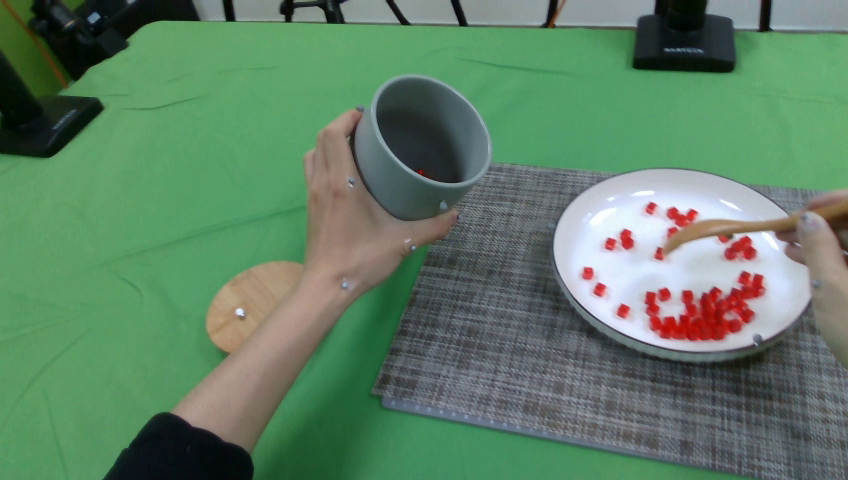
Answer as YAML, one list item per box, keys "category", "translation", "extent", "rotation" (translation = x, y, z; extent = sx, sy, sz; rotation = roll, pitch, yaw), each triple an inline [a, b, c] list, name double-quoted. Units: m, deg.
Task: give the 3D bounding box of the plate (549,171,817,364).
- category: "plate"
  translation: [0.212, 0.022, 0.518]
  extent: [0.207, 0.039, 0.205]
  rotation: [-5, 46, 5]

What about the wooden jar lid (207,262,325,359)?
- category: "wooden jar lid"
  translation: [-0.143, 0.065, 0.556]
  extent: [0.108, 0.021, 0.107]
  rotation: [-4, 47, 4]

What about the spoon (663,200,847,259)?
- category: "spoon"
  translation: [0.246, -0.013, 0.421]
  extent: [0.042, 0.021, 0.193]
  rotation: [-24, 2, -31]

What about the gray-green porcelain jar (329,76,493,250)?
- category: "gray-green porcelain jar"
  translation: [-0.018, -0.057, 0.518]
  extent: [0.106, 0.127, 0.105]
  rotation: [13, 58, -23]
